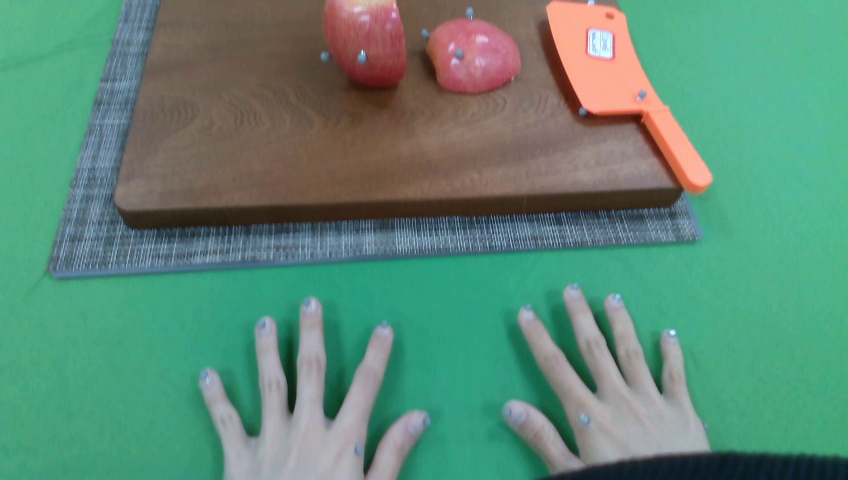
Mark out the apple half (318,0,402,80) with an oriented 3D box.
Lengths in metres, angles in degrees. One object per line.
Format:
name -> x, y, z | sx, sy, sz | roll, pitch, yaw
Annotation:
apple half -> -0.050, -0.160, 0.450 | 0.053, 0.075, 0.080 | -15, 63, -8

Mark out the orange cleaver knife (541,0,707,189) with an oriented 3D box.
orange cleaver knife -> 0.150, -0.125, 0.474 | 0.077, 0.012, 0.209 | -9, 61, -12

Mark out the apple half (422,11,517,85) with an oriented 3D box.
apple half -> 0.037, -0.162, 0.481 | 0.081, 0.033, 0.080 | 1, 58, -1
